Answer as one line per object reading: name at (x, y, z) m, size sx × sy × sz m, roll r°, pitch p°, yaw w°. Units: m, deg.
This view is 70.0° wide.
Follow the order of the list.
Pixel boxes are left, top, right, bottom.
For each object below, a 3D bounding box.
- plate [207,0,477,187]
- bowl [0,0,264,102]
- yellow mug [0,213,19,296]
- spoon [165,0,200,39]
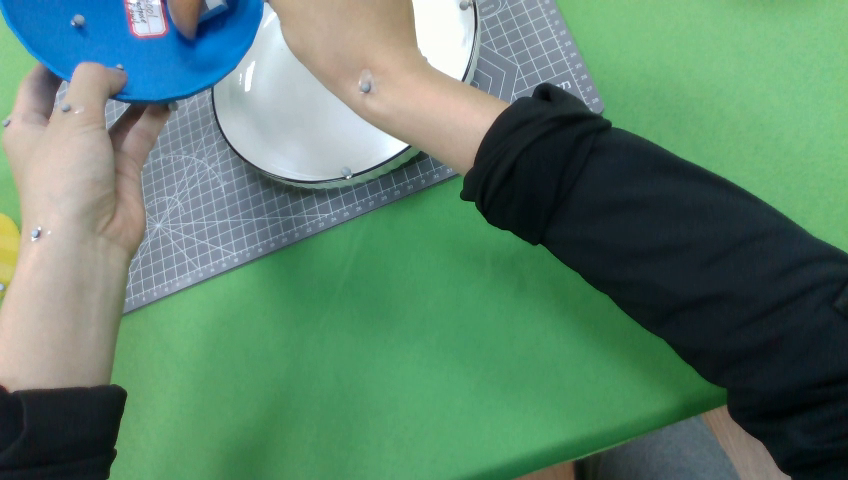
plate at (-0.060, -0.132, 0.447) m, size 0.208 × 0.038 × 0.208 m, roll -5°, pitch 71°, yaw 16°
bowl at (-0.184, -0.154, 0.390) m, size 0.152 × 0.076 × 0.151 m, roll 1°, pitch 87°, yaw -20°
yellow mug at (-0.403, 0.027, 0.493) m, size 0.099 × 0.064 × 0.130 m, roll 1°, pitch 73°, yaw 18°
spoon at (-0.115, -0.162, 0.334) m, size 0.193 × 0.022 × 0.041 m, roll -12°, pitch 94°, yaw 52°
